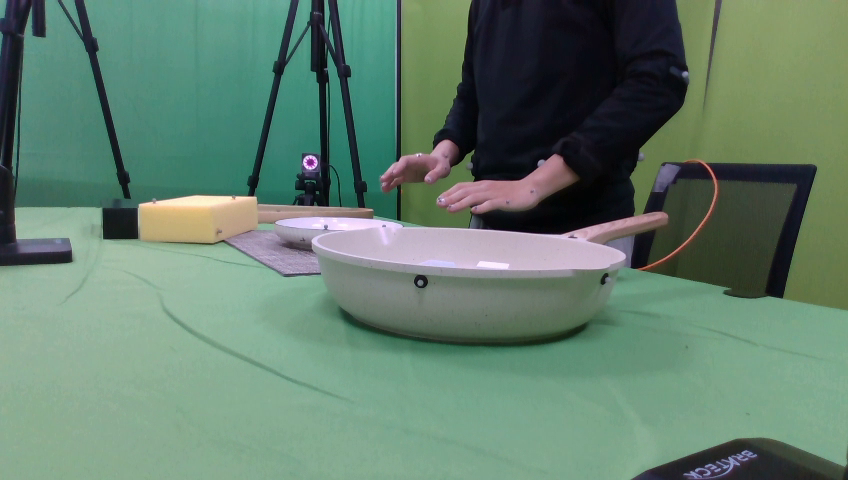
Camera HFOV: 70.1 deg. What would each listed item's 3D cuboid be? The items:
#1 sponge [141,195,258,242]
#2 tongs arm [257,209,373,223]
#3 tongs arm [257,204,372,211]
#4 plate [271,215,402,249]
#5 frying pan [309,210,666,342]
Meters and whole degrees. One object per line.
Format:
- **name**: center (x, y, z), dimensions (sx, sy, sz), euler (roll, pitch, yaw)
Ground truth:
- **sponge**: center (-0.380, -0.040, 1.047), dimensions (0.118, 0.061, 0.207), euler (1, 8, 3)
- **tongs arm**: center (-0.274, -0.053, 1.347), dimensions (0.390, 0.028, 0.028), euler (-2, 7, -37)
- **tongs arm**: center (-0.312, -0.068, 1.417), dimensions (0.387, 0.026, 0.050), euler (1, 9, -24)
- **plate**: center (-0.141, -0.012, 0.978), dimensions (0.208, 0.039, 0.207), euler (3, 7, 0)
- **frying pan**: center (0.120, 0.011, 0.643), dimensions (0.490, 0.102, 0.305), euler (-13, 16, -36)
